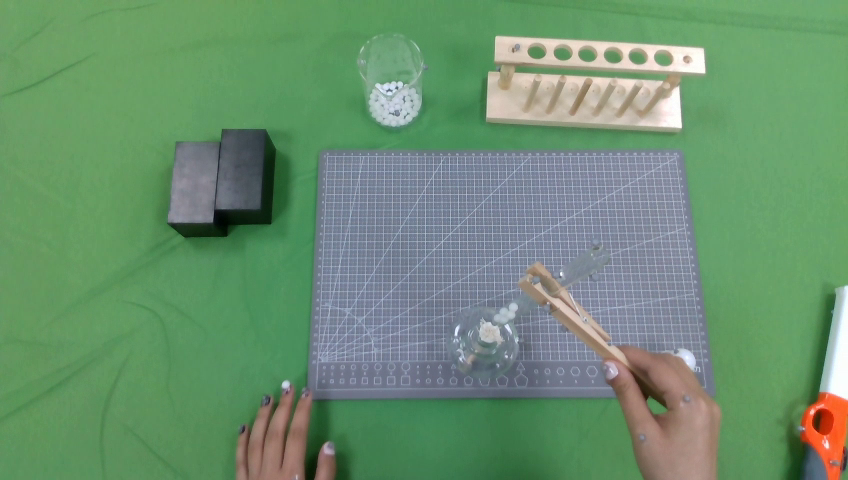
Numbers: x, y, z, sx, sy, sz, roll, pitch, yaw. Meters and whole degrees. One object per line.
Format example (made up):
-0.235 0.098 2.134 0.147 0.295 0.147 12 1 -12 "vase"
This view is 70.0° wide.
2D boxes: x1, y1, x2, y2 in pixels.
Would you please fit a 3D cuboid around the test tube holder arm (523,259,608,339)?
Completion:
0.114 0.050 0.486 0.088 0.015 0.010 47 56 -5 "test tube holder arm"

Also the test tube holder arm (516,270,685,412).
0.144 0.084 0.488 0.179 0.015 0.013 41 57 -9 "test tube holder arm"

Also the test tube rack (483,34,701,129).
0.197 -0.190 0.734 0.242 0.085 0.066 3 74 0 "test tube rack"

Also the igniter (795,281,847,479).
0.442 0.176 0.661 0.057 0.025 0.275 23 74 -4 "igniter"

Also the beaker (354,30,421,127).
-0.041 -0.185 0.722 0.074 0.101 0.083 2 74 0 "beaker"

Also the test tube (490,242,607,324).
0.093 0.039 0.484 0.017 0.150 0.017 11 61 -21 "test tube"

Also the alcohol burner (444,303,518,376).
0.061 0.100 0.629 0.078 0.119 0.077 1 72 -2 "alcohol burner"

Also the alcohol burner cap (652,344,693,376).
0.273 0.130 0.661 0.034 0.048 0.033 0 72 -1 "alcohol burner cap"
